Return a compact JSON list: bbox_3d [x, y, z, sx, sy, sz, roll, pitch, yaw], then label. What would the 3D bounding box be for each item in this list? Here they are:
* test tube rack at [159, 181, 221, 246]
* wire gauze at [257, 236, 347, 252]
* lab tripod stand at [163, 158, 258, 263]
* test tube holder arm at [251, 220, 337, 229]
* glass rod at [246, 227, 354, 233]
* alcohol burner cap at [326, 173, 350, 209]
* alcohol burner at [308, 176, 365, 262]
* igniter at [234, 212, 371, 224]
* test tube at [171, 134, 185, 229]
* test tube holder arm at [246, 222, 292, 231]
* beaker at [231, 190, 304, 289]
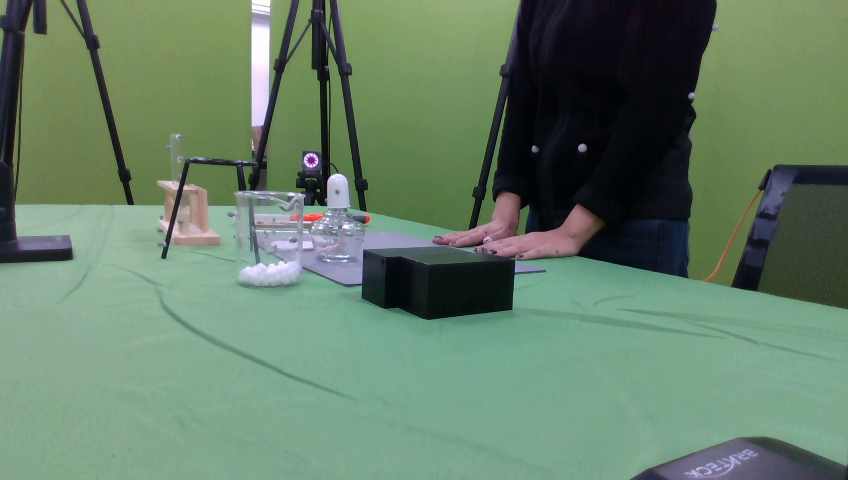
[{"bbox_3d":[-0.395,-0.050,1.010,0.067,0.085,0.241,-2,8,-28],"label":"test tube rack"},{"bbox_3d":[-0.189,0.006,0.931,0.122,0.011,0.124,1,7,-21],"label":"wire gauze"},{"bbox_3d":[-0.265,-0.041,0.802,0.148,0.131,0.148,4,7,0],"label":"lab tripod stand"},{"bbox_3d":[-0.253,-0.029,1.155,0.179,0.015,0.013,0,40,-30],"label":"test tube holder arm"},{"bbox_3d":[-0.224,-0.017,1.109,0.201,0.008,0.008,1,7,-27],"label":"glass rod"},{"bbox_3d":[-0.116,-0.065,0.808,0.034,0.048,0.034,-3,10,1],"label":"alcohol burner cap"},{"bbox_3d":[-0.117,-0.030,0.813,0.078,0.119,0.078,4,9,0],"label":"alcohol burner"},{"bbox_3d":[-0.245,-0.045,1.248,0.278,0.025,0.057,-1,-2,-25],"label":"igniter"},{"bbox_3d":[-0.390,-0.092,0.963,0.017,0.150,0.017,-1,4,0],"label":"test tube"},{"bbox_3d":[-0.290,-0.026,1.129,0.088,0.015,0.010,-1,40,-30],"label":"test tube holder arm"},{"bbox_3d":[-0.166,-0.001,0.653,0.074,0.100,0.083,-4,10,-40],"label":"beaker"}]
